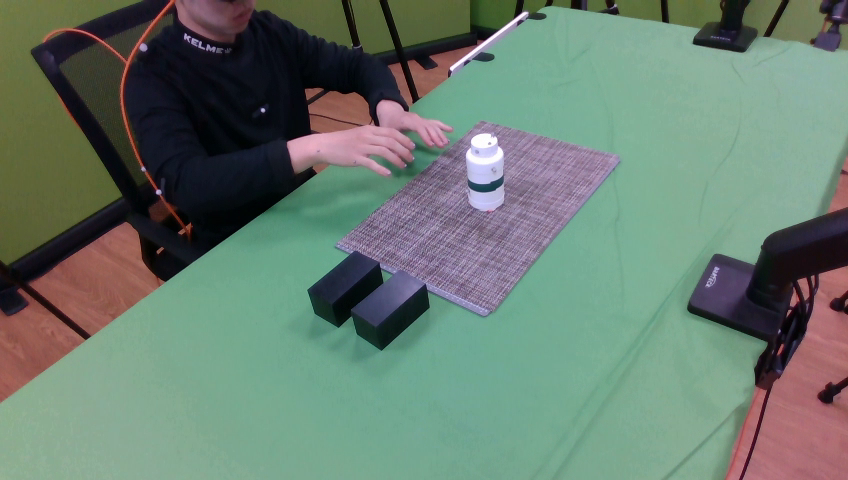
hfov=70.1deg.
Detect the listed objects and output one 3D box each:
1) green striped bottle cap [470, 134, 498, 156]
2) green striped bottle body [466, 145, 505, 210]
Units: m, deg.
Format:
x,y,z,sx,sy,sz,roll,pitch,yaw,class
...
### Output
x,y,z,sx,sy,sz,roll,pitch,yaw,class
0.096,-0.152,0.971,0.044,0.020,0.044,-4,37,4,green striped bottle cap
0.102,-0.113,1.005,0.063,0.120,0.063,-4,41,4,green striped bottle body
